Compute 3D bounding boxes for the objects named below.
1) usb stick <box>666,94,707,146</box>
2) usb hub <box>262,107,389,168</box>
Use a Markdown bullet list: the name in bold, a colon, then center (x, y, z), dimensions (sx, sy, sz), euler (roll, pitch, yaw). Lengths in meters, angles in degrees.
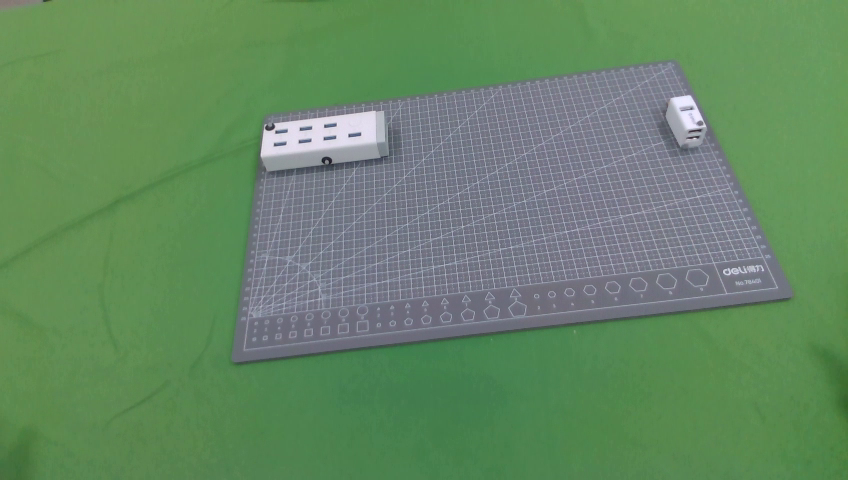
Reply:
- **usb stick**: center (0.249, -0.119, 0.580), dimensions (0.021, 0.027, 0.058), euler (-9, 51, 4)
- **usb hub**: center (-0.099, -0.105, 0.615), dimensions (0.125, 0.025, 0.049), euler (-6, 54, 2)
